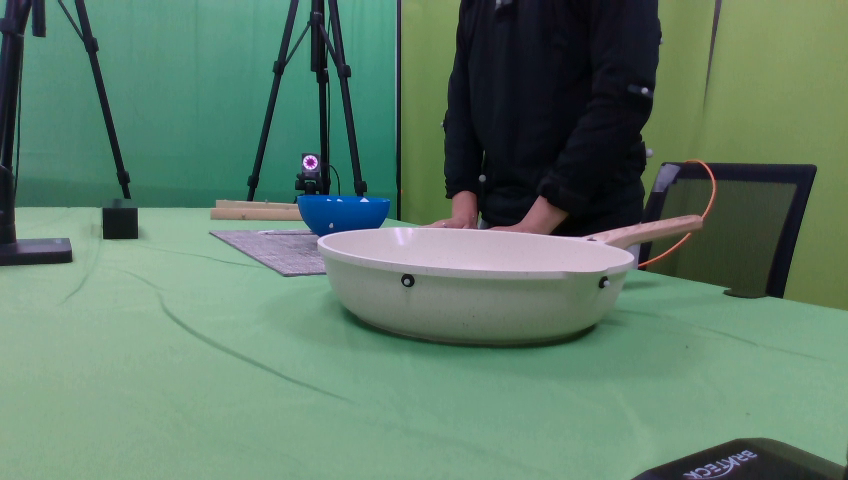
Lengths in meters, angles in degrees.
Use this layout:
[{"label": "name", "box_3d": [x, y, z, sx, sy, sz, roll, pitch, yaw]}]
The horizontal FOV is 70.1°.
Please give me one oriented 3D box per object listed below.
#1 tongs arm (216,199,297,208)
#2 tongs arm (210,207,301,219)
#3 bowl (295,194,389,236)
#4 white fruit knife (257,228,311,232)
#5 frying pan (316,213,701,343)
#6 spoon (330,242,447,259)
[{"label": "tongs arm", "box_3d": [-0.307, -0.076, 1.470, 0.386, 0.026, 0.050, 2, 8, -11]}, {"label": "tongs arm", "box_3d": [-0.287, -0.062, 1.392, 0.389, 0.028, 0.028, 0, 5, -23]}, {"label": "bowl", "box_3d": [-0.132, -0.032, 0.980, 0.151, 0.077, 0.151, 2, 7, 0]}, {"label": "white fruit knife", "box_3d": [-0.202, -0.021, 1.116, 0.208, 0.016, 0.027, -2, -1, -24]}, {"label": "frying pan", "box_3d": [0.133, 0.013, 0.629, 0.490, 0.102, 0.305, -12, 14, -30]}, {"label": "spoon", "box_3d": [-0.046, 0.011, 0.883, 0.195, 0.021, 0.041, -4, 24, -30]}]
